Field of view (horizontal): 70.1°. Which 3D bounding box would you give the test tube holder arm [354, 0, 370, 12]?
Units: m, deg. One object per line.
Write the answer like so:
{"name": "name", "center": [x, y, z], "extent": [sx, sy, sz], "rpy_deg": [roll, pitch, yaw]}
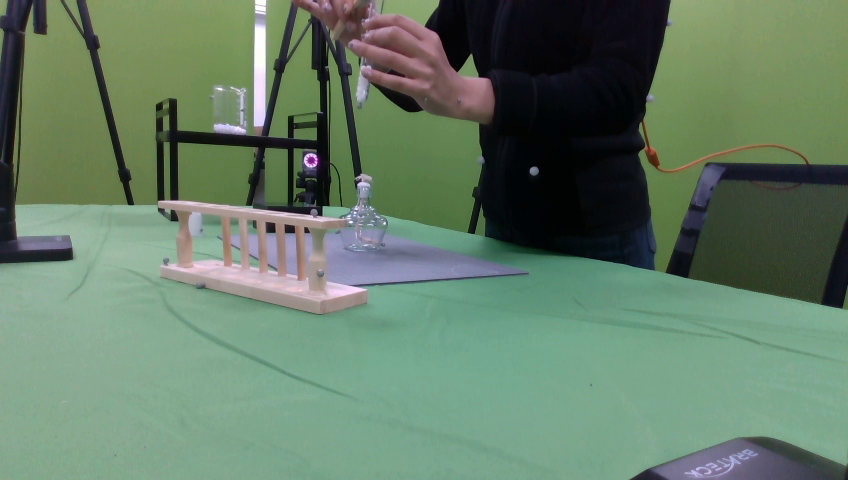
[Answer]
{"name": "test tube holder arm", "center": [-0.068, -0.312, 0.765], "extent": [0.010, 0.015, 0.087], "rpy_deg": [11, -12, -37]}

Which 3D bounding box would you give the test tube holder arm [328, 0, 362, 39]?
{"name": "test tube holder arm", "center": [-0.096, -0.308, 0.800], "extent": [0.013, 0.015, 0.177], "rpy_deg": [9, -11, -27]}

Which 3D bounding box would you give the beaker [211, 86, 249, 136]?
{"name": "beaker", "center": [-0.413, -0.274, 1.297], "extent": [0.074, 0.100, 0.083], "rpy_deg": [-5, 11, -44]}

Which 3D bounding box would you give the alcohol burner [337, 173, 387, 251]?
{"name": "alcohol burner", "center": [-0.095, -0.043, 0.926], "extent": [0.078, 0.119, 0.078], "rpy_deg": [3, 6, 0]}

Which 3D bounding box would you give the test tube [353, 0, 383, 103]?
{"name": "test tube", "center": [-0.066, -0.238, 0.730], "extent": [0.017, 0.150, 0.017], "rpy_deg": [9, -7, 1]}

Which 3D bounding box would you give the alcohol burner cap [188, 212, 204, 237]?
{"name": "alcohol burner cap", "center": [-0.390, -0.029, 1.025], "extent": [0.034, 0.048, 0.034], "rpy_deg": [2, 8, 0]}

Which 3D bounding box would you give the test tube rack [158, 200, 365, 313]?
{"name": "test tube rack", "center": [-0.173, 0.009, 0.624], "extent": [0.241, 0.085, 0.067], "rpy_deg": [7, 9, 34]}
